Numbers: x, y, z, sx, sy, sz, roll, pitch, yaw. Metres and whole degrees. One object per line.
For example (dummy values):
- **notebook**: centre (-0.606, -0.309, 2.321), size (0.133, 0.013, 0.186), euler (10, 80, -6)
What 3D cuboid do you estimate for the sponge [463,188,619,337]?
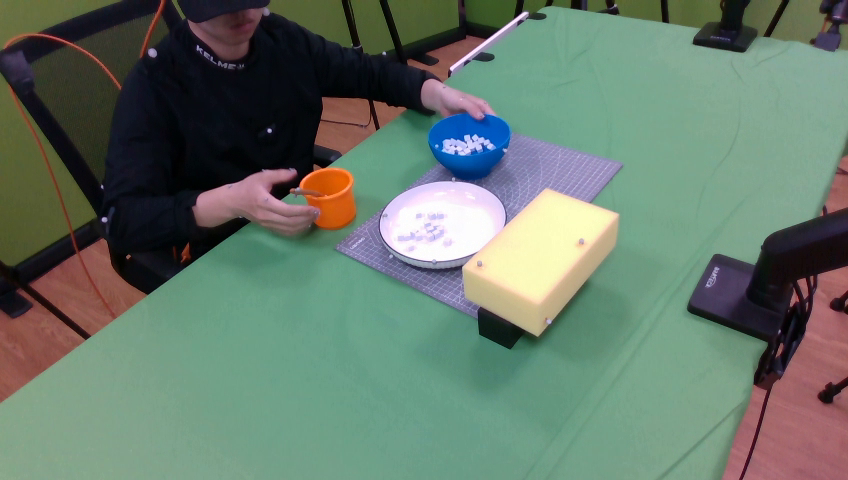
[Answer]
- **sponge**: centre (0.160, 0.022, 0.814), size (0.117, 0.061, 0.207), euler (24, 50, 32)

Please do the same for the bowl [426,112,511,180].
- **bowl**: centre (0.084, -0.161, 1.098), size (0.151, 0.077, 0.150), euler (-4, 40, 4)

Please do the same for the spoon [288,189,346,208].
- **spoon**: centre (-0.175, -0.070, 0.980), size (0.041, 0.194, 0.021), euler (2, 85, 14)

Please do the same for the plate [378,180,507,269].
- **plate**: centre (0.031, -0.022, 0.974), size (0.209, 0.038, 0.208), euler (-4, 40, 4)
